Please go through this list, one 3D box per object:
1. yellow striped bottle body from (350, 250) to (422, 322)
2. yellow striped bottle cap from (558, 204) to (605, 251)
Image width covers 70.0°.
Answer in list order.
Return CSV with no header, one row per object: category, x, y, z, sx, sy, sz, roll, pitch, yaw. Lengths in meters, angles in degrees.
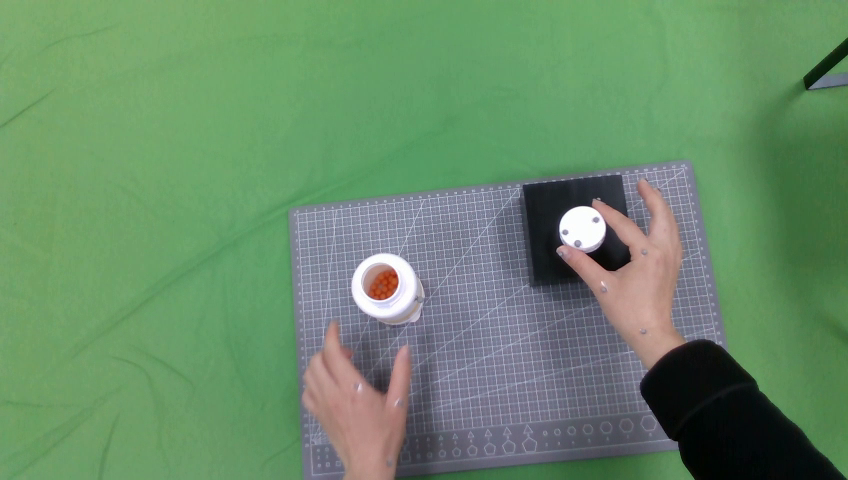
yellow striped bottle body,-0.037,0.047,0.600,0.063,0.121,0.062,-1,79,4
yellow striped bottle cap,0.153,-0.012,0.591,0.044,0.019,0.044,-4,74,15
